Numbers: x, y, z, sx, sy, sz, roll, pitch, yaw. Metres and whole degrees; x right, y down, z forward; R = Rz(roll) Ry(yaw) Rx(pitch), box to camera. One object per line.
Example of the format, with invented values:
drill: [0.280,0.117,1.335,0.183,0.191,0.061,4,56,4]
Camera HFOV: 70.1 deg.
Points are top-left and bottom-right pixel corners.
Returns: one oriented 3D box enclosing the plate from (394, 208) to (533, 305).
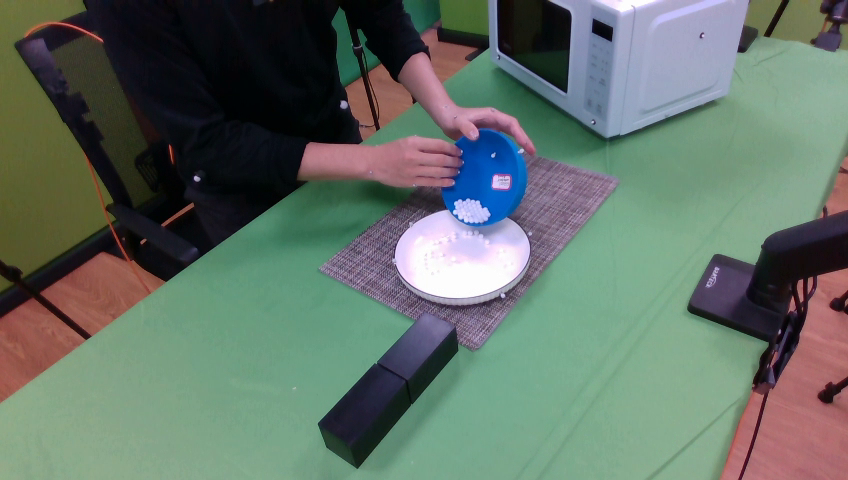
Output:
plate: [0.059,0.025,0.915,0.207,0.039,0.206,-4,41,4]

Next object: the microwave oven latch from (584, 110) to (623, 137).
microwave oven latch: [0.337,-0.222,1.142,0.030,0.029,0.078,-21,42,-14]

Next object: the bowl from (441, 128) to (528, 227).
bowl: [0.107,-0.094,0.942,0.150,0.151,0.077,32,19,37]

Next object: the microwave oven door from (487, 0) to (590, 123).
microwave oven door: [0.232,-0.420,1.230,0.039,0.245,0.352,-22,43,-16]

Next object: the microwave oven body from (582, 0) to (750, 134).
microwave oven body: [0.382,-0.444,1.246,0.327,0.261,0.437,-22,42,-16]
